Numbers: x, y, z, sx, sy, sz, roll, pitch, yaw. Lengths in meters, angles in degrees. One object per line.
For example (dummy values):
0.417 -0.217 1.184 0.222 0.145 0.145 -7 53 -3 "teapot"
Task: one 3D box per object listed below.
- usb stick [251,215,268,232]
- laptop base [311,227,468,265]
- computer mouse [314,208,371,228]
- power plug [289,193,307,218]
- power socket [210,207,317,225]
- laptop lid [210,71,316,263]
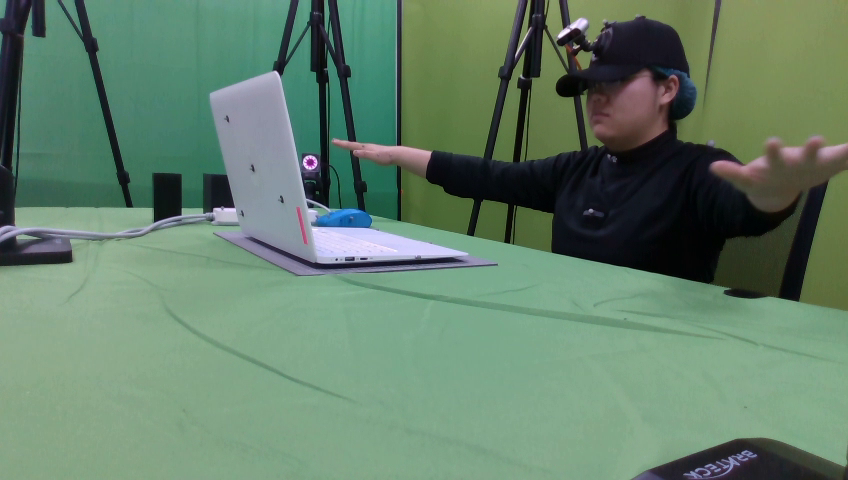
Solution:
-0.290 -0.028 1.070 0.021 0.027 0.059 -2 12 -29 "usb stick"
-0.123 0.007 0.952 0.237 0.023 0.352 2 6 -32 "laptop base"
-0.173 -0.046 1.284 0.118 0.041 0.062 -7 13 -30 "computer mouse"
-0.281 -0.076 1.340 0.035 0.052 0.072 3 6 -18 "power plug"
-0.335 -0.051 1.281 0.228 0.032 0.072 -1 8 -28 "power socket"
-0.240 -0.104 0.861 0.013 0.241 0.355 -16 17 -29 "laptop lid"
